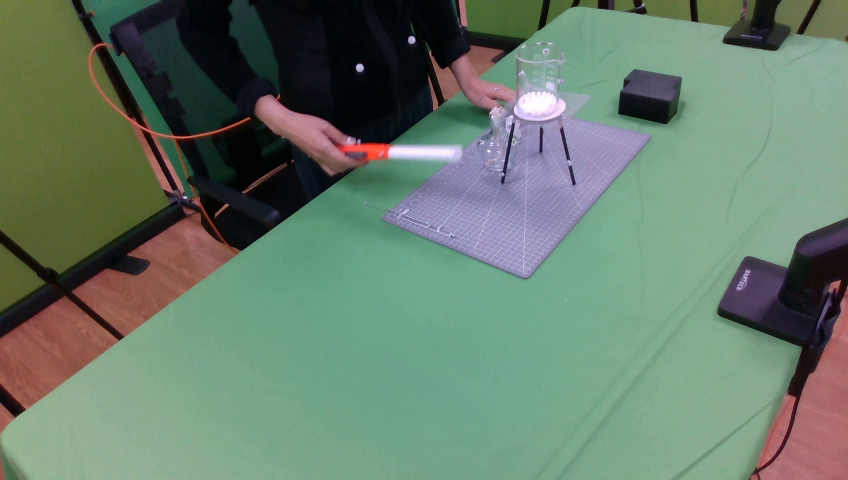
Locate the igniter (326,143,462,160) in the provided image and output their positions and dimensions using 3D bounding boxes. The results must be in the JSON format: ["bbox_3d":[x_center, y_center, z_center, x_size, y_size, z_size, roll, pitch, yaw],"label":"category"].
[{"bbox_3d":[-0.061,-0.151,1.027,0.274,0.025,0.057,6,24,31],"label":"igniter"}]

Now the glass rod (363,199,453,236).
[{"bbox_3d":[-0.031,-0.041,1.041,0.198,0.008,0.008,22,50,31],"label":"glass rod"}]

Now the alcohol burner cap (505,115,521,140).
[{"bbox_3d":[0.175,-0.224,1.193,0.034,0.048,0.033,-6,40,5],"label":"alcohol burner cap"}]

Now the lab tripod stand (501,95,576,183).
[{"bbox_3d":[0.204,-0.174,1.057,0.148,0.132,0.147,-4,40,4],"label":"lab tripod stand"}]

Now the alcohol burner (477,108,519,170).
[{"bbox_3d":[0.135,-0.188,1.102,0.078,0.119,0.077,-4,41,4],"label":"alcohol burner"}]

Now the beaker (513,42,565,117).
[{"bbox_3d":[0.187,-0.257,0.981,0.083,0.101,0.074,21,49,29],"label":"beaker"}]

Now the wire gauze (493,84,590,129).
[{"bbox_3d":[0.197,-0.223,1.013,0.120,0.011,0.125,21,47,28],"label":"wire gauze"}]
